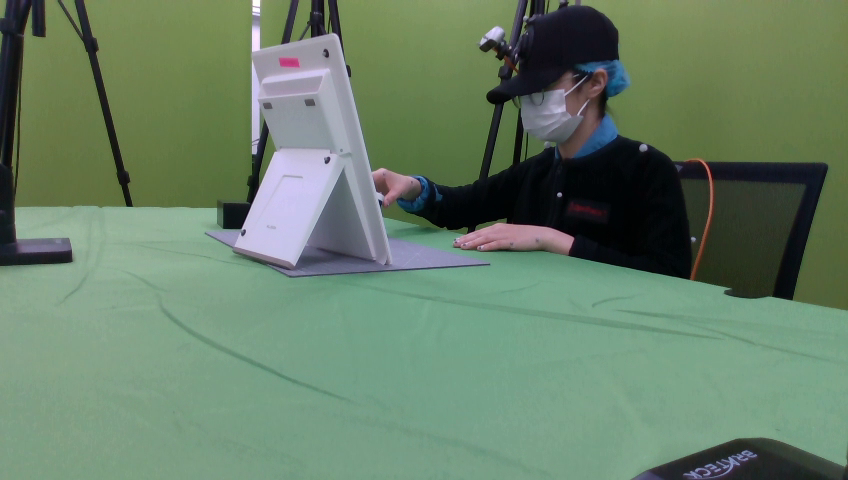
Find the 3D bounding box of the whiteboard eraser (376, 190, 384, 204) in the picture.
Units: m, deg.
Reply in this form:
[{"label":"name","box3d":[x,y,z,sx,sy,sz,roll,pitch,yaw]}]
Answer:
[{"label":"whiteboard eraser","box3d":[-0.097,-0.082,1.130,0.041,0.019,0.101,20,-3,-6]}]

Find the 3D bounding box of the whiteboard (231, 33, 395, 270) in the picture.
[{"label":"whiteboard","box3d":[-0.193,-0.094,0.805,0.144,0.305,0.216,-28,25,-35]}]
